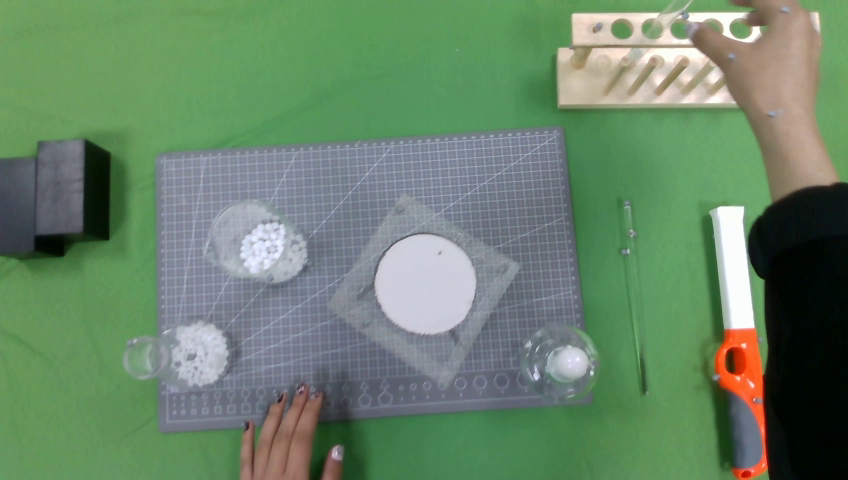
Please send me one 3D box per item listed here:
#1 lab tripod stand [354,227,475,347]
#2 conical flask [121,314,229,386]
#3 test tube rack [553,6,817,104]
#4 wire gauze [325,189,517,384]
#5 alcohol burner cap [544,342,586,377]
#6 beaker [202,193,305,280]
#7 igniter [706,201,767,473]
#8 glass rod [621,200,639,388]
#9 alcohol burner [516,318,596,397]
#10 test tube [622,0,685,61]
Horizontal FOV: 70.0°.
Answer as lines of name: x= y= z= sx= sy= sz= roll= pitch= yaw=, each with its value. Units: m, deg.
lab tripod stand: x=-0.004 y=0.044 z=0.580 sx=0.148 sy=0.132 sz=0.148 roll=0 pitch=84 yaw=2
conical flask: x=-0.241 y=0.107 z=0.580 sx=0.075 sy=0.122 sz=0.075 roll=0 pitch=82 yaw=1
test tube rack: x=0.265 y=-0.191 z=0.635 sx=0.242 sy=0.085 sz=0.066 roll=0 pitch=82 yaw=1
wire gauze: x=-0.002 y=0.037 z=0.513 sx=0.125 sy=0.011 sz=0.121 roll=33 pitch=85 yaw=5
alcohol burner cap: x=0.128 y=0.105 z=0.543 sx=0.034 sy=0.048 sz=0.033 roll=0 pitch=76 yaw=-1
beaker: x=-0.165 y=0.002 z=0.605 sx=0.084 sy=0.100 sz=0.073 roll=-20 pitch=82 yaw=-1
igniter: x=0.320 y=0.096 z=0.625 sx=0.057 sy=0.025 sz=0.275 roll=0 pitch=82 yaw=-10
glass rod: x=0.218 y=0.056 z=0.641 sx=0.008 sy=0.008 sz=0.199 roll=-2 pitch=85 yaw=0
alcohol burner: x=0.129 y=0.112 z=0.579 sx=0.078 sy=0.119 sz=0.077 roll=-1 pitch=81 yaw=4
test tube: x=0.226 y=-0.212 z=0.589 sx=0.017 sy=0.150 sz=0.017 roll=0 pitch=81 yaw=-3
